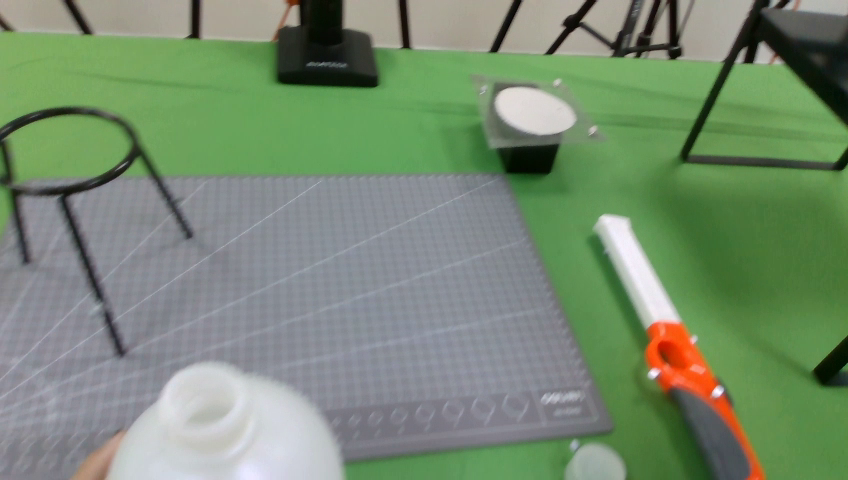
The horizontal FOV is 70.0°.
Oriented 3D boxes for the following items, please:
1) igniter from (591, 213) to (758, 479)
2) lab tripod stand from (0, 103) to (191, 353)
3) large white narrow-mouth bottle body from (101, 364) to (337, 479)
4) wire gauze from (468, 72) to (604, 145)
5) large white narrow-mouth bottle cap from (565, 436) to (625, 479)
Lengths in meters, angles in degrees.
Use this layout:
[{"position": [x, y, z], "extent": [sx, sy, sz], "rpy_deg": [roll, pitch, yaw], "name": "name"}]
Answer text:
[{"position": [0.194, 0.079, 0.491], "extent": [0.057, 0.025, 0.273], "rpy_deg": [8, 44, -18], "name": "igniter"}, {"position": [-0.233, -0.014, 0.426], "extent": [0.149, 0.132, 0.147], "rpy_deg": [7, 45, -6], "name": "lab tripod stand"}, {"position": [-0.090, 0.123, 0.277], "extent": [0.102, 0.196, 0.101], "rpy_deg": [5, 45, -4], "name": "large white narrow-mouth bottle body"}, {"position": [0.114, -0.139, 0.638], "extent": [0.122, 0.011, 0.123], "rpy_deg": [0, 46, -13], "name": "wire gauze"}, {"position": [0.115, 0.153, 0.407], "extent": [0.038, 0.024, 0.037], "rpy_deg": [5, 45, -4], "name": "large white narrow-mouth bottle cap"}]
